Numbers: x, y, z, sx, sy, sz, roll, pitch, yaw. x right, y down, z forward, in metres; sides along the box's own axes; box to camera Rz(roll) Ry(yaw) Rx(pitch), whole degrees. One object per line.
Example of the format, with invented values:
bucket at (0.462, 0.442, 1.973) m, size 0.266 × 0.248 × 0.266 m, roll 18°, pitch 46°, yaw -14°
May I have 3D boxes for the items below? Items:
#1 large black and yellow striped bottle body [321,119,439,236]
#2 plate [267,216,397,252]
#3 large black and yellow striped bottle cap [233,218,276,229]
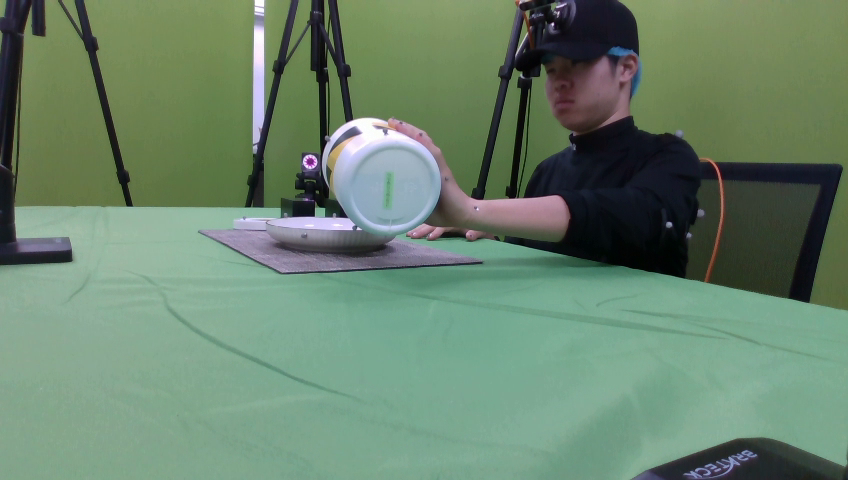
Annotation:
large black and yellow striped bottle body at (-0.068, -0.092, 0.820) m, size 0.131 × 0.130 × 0.183 m, roll 0°, pitch 19°, yaw -19°
plate at (-0.145, -0.010, 0.967) m, size 0.208 × 0.039 × 0.207 m, roll 2°, pitch 7°, yaw 0°
large black and yellow striped bottle cap at (-0.311, -0.032, 1.172) m, size 0.115 × 0.019 × 0.115 m, roll 1°, pitch 4°, yaw 0°
